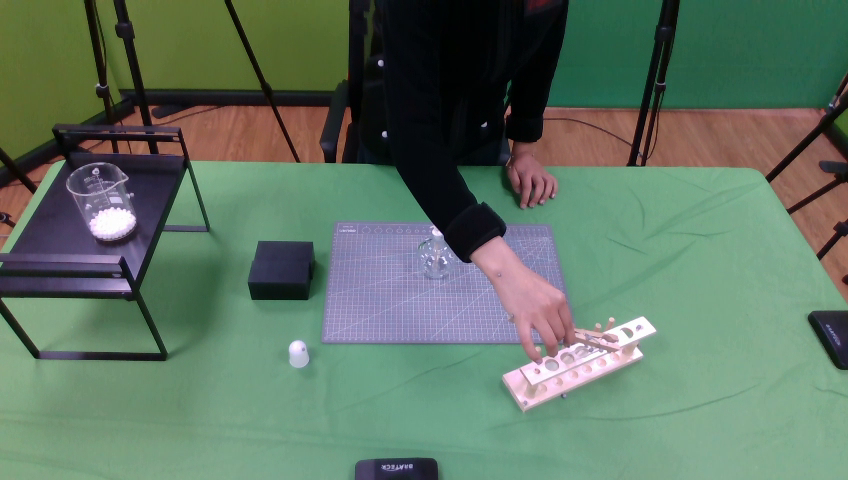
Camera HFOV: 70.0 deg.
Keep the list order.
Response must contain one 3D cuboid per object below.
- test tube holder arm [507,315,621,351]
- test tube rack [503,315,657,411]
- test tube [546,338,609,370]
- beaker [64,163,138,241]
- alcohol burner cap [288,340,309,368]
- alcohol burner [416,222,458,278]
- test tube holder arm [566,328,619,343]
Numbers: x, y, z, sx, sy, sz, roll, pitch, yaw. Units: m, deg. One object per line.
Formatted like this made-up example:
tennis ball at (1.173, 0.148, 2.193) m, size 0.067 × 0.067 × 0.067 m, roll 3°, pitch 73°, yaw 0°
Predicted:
test tube holder arm at (0.198, 0.131, 0.850) m, size 0.179 × 0.015 × 0.013 m, roll 15°, pitch 48°, yaw -16°
test tube rack at (0.253, 0.186, 0.989) m, size 0.242 × 0.085 × 0.066 m, roll -18°, pitch 50°, yaw -20°
test tube at (0.225, 0.180, 0.934) m, size 0.017 × 0.150 × 0.017 m, roll 17°, pitch 55°, yaw -26°
beaker at (-0.477, -0.055, 0.910) m, size 0.084 × 0.101 × 0.073 m, roll -9°, pitch 48°, yaw -13°
alcohol burner cap at (-0.206, 0.183, 0.991) m, size 0.034 × 0.048 × 0.033 m, roll 2°, pitch 47°, yaw -2°
alcohol burner at (0.024, 0.014, 1.116) m, size 0.078 × 0.120 × 0.077 m, roll 1°, pitch 45°, yaw -1°
test tube holder arm at (0.240, 0.136, 0.868) m, size 0.088 × 0.015 × 0.010 m, roll 9°, pitch 51°, yaw -21°
